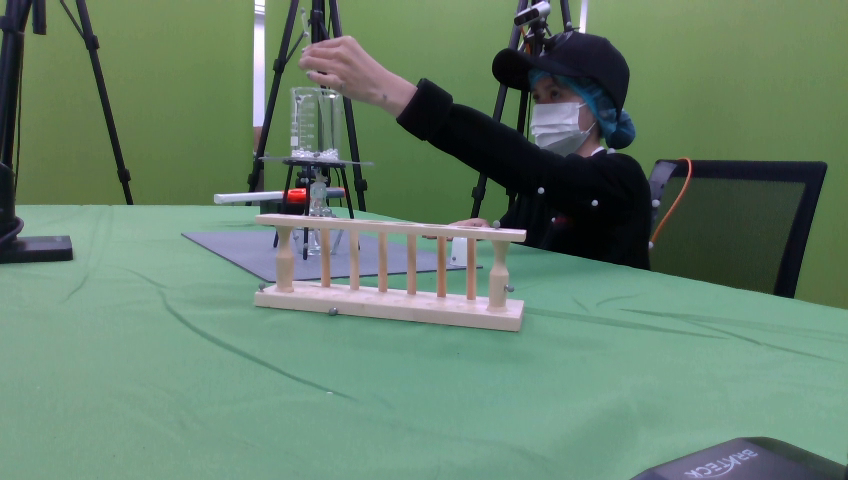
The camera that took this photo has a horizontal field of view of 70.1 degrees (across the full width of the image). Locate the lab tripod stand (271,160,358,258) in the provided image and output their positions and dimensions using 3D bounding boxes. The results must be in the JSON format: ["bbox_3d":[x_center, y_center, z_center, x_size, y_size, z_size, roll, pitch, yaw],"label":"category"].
[{"bbox_3d":[-0.159,-0.048,0.876,0.148,0.131,0.148,3,5,0],"label":"lab tripod stand"}]

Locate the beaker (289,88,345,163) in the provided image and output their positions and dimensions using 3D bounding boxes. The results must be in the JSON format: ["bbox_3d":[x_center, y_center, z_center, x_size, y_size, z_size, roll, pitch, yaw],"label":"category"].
[{"bbox_3d":[-0.157,-0.160,0.862,0.083,0.100,0.074,7,7,34],"label":"beaker"}]

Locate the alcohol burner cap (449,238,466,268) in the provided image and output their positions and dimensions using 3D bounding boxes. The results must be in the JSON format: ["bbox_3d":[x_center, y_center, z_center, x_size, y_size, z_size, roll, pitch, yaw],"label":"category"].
[{"bbox_3d":[0.051,0.015,0.827,0.034,0.048,0.034,2,5,0],"label":"alcohol burner cap"}]

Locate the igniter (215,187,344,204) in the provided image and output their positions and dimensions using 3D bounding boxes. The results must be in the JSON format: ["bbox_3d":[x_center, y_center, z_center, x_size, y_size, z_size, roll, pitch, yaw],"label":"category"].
[{"bbox_3d":[-0.290,-0.093,1.256,0.278,0.025,0.057,-6,12,-35],"label":"igniter"}]

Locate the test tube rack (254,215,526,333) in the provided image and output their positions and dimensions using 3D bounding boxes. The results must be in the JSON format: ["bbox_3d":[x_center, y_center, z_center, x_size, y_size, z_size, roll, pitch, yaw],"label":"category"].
[{"bbox_3d":[-0.030,0.025,0.557,0.242,0.085,0.067,4,7,12],"label":"test tube rack"}]

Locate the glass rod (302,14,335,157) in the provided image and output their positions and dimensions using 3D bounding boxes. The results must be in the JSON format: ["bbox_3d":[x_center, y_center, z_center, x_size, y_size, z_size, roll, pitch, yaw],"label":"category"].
[{"bbox_3d":[-0.148,-0.215,0.850,0.008,0.199,0.008,-10,10,2],"label":"glass rod"}]

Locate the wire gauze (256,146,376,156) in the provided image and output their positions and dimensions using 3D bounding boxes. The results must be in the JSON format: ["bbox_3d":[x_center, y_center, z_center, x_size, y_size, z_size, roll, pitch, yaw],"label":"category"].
[{"bbox_3d":[-0.155,-0.128,0.871,0.124,0.011,0.122,2,7,36],"label":"wire gauze"}]

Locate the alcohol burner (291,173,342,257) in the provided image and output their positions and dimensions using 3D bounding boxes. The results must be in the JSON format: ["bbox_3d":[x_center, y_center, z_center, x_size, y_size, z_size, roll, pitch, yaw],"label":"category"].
[{"bbox_3d":[-0.155,-0.037,0.870,0.078,0.119,0.078,1,6,0],"label":"alcohol burner"}]
